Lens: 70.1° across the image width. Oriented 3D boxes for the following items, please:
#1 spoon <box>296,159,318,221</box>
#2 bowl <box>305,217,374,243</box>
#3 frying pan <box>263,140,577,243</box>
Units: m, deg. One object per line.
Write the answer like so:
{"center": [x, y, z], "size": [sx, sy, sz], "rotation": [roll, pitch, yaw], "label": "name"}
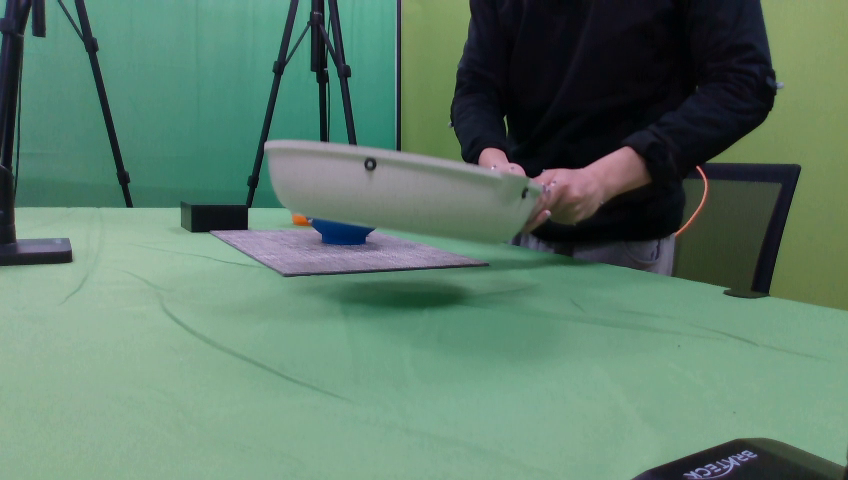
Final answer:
{"center": [-0.264, -0.114, 1.338], "size": [0.042, 0.193, 0.021], "rotation": [0, -37, -21], "label": "spoon"}
{"center": [-0.136, -0.037, 1.018], "size": [0.151, 0.077, 0.151], "rotation": [3, 7, 0], "label": "bowl"}
{"center": [0.049, -0.054, 0.717], "size": [0.491, 0.102, 0.305], "rotation": [-5, 12, -45], "label": "frying pan"}
